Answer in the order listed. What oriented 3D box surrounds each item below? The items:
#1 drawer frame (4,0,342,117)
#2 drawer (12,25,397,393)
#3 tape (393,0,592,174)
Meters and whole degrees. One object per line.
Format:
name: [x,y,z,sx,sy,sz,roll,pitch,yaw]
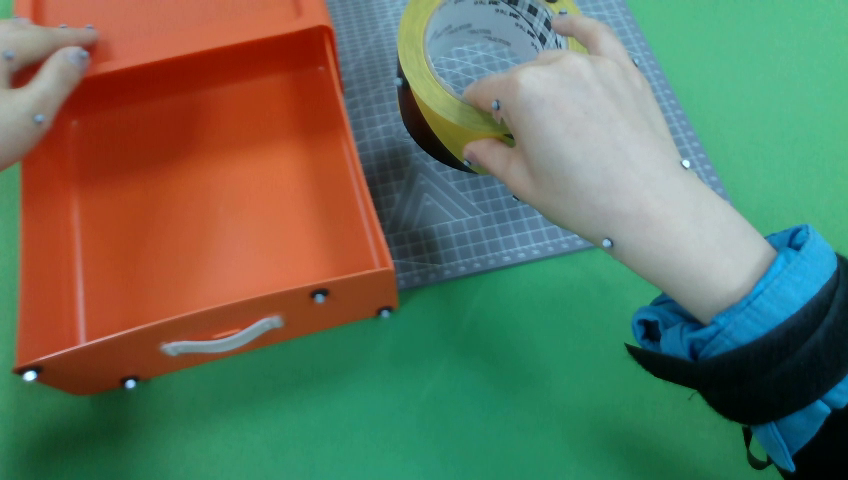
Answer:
drawer frame: [-0.184,-0.181,0.446,0.202,0.083,0.211,-16,63,-7]
drawer: [-0.136,-0.034,0.376,0.195,0.074,0.210,-15,65,-6]
tape: [0.040,-0.099,0.359,0.117,0.053,0.116,1,73,-3]
